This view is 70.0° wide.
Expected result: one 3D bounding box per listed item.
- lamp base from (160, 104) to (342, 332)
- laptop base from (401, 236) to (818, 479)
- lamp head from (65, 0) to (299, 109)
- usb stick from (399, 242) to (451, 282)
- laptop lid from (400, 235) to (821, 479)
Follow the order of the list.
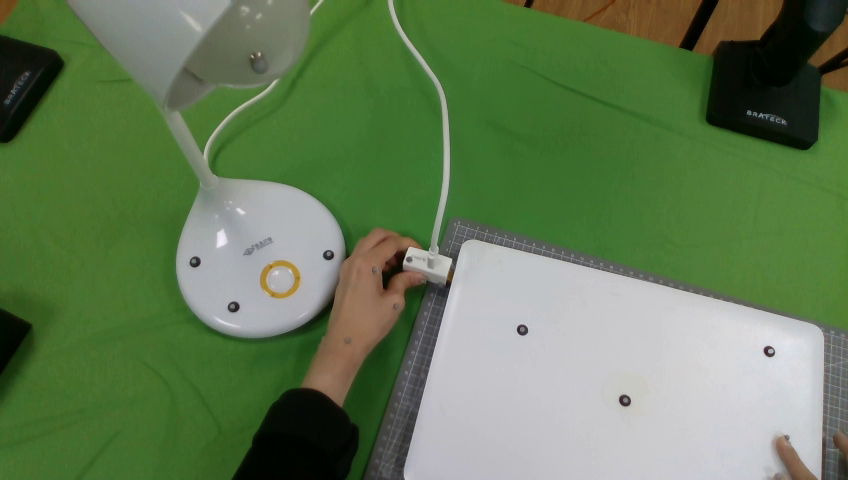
[{"bbox_3d":[-0.167,-0.027,0.523,0.160,0.181,0.178,-42,72,-18],"label":"lamp base"},{"bbox_3d":[0.176,0.143,0.554,0.354,0.023,0.234,14,70,3],"label":"laptop base"},{"bbox_3d":[-0.109,-0.131,0.240,0.123,0.112,0.112,42,70,-10],"label":"lamp head"},{"bbox_3d":[0.007,0.023,0.583,0.059,0.027,0.021,18,64,3],"label":"usb stick"},{"bbox_3d":[0.175,0.140,0.543,0.356,0.013,0.240,16,70,4],"label":"laptop lid"}]
